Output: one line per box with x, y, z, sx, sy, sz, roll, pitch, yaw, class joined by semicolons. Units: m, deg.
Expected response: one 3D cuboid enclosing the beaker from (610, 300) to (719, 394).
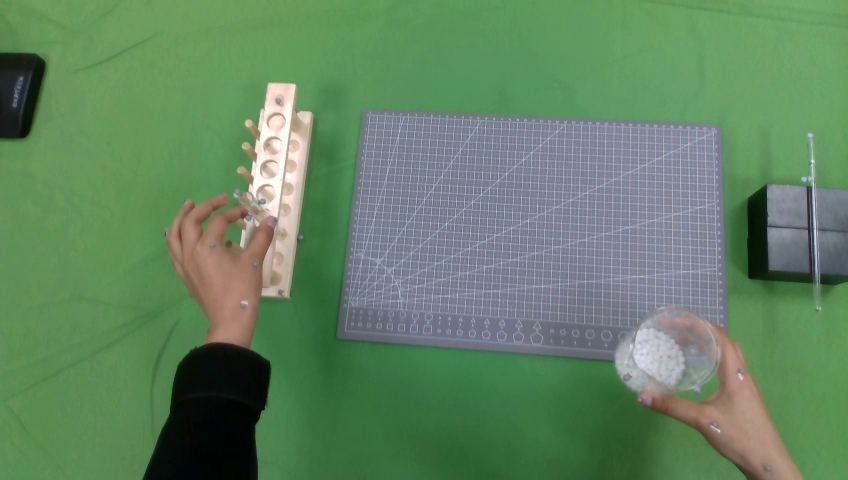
0.218;0.107;0.571;0.084;0.101;0.073;-20;70;-2;beaker

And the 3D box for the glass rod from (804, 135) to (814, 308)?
0.426;-0.023;0.669;0.008;0.008;0.199;6;77;5;glass rod

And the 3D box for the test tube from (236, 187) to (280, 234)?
-0.179;-0.029;0.663;0.017;0.150;0.017;0;78;-2;test tube

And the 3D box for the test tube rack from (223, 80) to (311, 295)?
-0.192;-0.062;0.723;0.067;0.085;0.241;4;77;4;test tube rack
